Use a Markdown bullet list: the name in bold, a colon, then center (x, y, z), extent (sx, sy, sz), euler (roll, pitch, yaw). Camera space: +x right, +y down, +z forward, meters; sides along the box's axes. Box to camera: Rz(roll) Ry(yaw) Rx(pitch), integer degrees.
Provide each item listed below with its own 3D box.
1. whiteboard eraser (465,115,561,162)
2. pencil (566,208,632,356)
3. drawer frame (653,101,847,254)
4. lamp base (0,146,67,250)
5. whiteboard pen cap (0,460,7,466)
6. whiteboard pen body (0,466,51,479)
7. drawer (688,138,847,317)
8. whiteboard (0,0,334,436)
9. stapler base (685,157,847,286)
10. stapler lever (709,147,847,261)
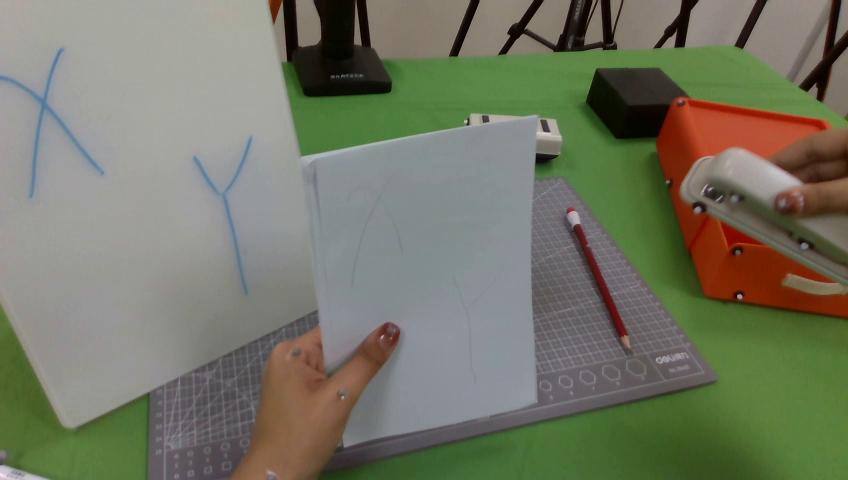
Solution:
- **whiteboard eraser**: center (0.108, -0.123, 0.742), extent (0.113, 0.042, 0.055), euler (4, 43, -5)
- **pencil**: center (0.170, 0.034, 0.594), extent (0.012, 0.012, 0.192), euler (0, 44, -9)
- **drawer frame**: center (0.385, -0.063, 0.688), extent (0.202, 0.083, 0.211), euler (8, 41, 0)
- **lamp base**: center (-0.428, -0.098, 0.518), extent (0.178, 0.182, 0.160), euler (19, 42, 16)
- **whiteboard pen cap**: center (-0.287, 0.146, 0.388), extent (0.033, 0.018, 0.018), euler (12, 41, 8)
- **whiteboard pen body**: center (-0.230, 0.161, 0.382), extent (0.140, 0.017, 0.017), euler (12, 41, 6)
- **drawer**: center (0.379, -0.021, 0.642), extent (0.194, 0.074, 0.210), euler (8, 41, 1)
- **whiteboard**: center (-0.221, -0.058, 0.456), extent (0.217, 0.308, 0.142), euler (-25, 32, -31)
- **stapler base**: center (0.251, -0.018, 0.425), extent (0.130, 0.024, 0.041), euler (33, 88, 15)
- **stapler lever**: center (0.248, -0.023, 0.401), extent (0.117, 0.040, 0.027), euler (32, 88, 16)
